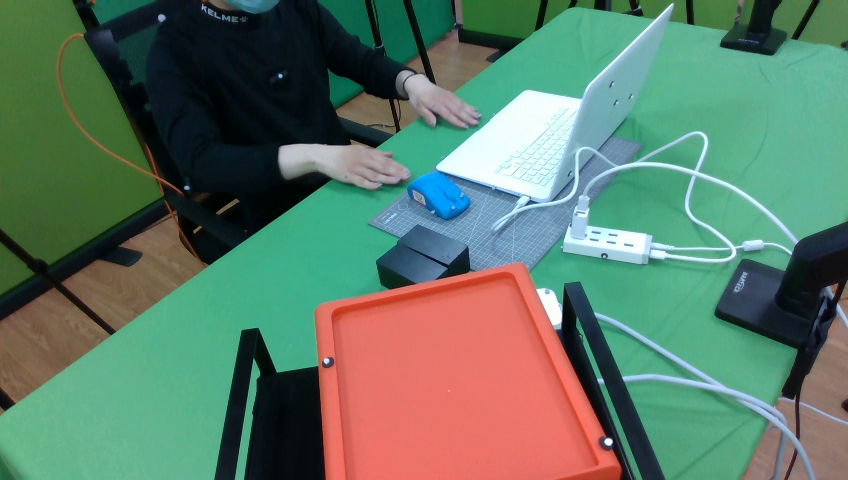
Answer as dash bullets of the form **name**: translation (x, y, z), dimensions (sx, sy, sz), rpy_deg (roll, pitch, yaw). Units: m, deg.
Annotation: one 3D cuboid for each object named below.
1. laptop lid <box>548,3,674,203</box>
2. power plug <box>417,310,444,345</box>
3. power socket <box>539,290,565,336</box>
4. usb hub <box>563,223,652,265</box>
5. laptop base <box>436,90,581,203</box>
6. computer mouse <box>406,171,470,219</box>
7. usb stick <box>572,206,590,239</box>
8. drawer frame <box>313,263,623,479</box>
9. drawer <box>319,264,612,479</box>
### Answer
- **laptop lid**: translation (0.320, -0.235, 1.026), dimensions (0.013, 0.242, 0.357), rpy_deg (31, 50, 20)
- **power plug**: translation (0.007, 0.122, 0.785), dimensions (0.035, 0.053, 0.072), rpy_deg (0, 39, 7)
- **power socket**: translation (0.081, 0.112, 0.822), dimensions (0.227, 0.033, 0.072), rpy_deg (-6, 41, 0)
- **usb hub**: translation (0.281, 0.005, 0.925), dimensions (0.124, 0.025, 0.049), rpy_deg (10, 43, 19)
- **laptop base**: translation (0.214, -0.192, 1.172), dimensions (0.233, 0.023, 0.355), rpy_deg (19, 46, 32)
- **computer mouse**: translation (0.024, -0.082, 1.049), dimensions (0.063, 0.041, 0.116), rpy_deg (-30, 50, -27)
- **usb stick**: translation (0.237, -0.021, 0.916), dimensions (0.021, 0.059, 0.027), rpy_deg (9, 41, 17)
- **drawer frame**: translation (0.021, 0.130, 0.493), dimensions (0.202, 0.083, 0.212), rpy_deg (-11, 41, -6)
- **drawer**: translation (0.020, 0.129, 0.497), dimensions (0.195, 0.073, 0.210), rpy_deg (-11, 41, -5)
